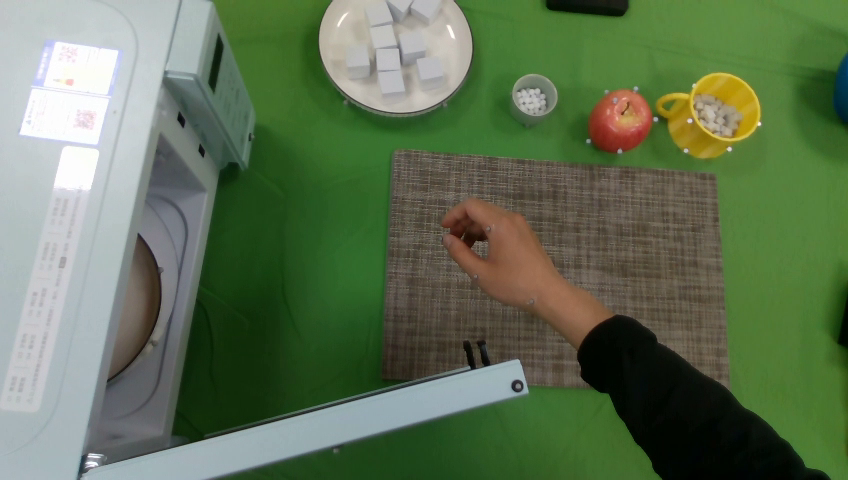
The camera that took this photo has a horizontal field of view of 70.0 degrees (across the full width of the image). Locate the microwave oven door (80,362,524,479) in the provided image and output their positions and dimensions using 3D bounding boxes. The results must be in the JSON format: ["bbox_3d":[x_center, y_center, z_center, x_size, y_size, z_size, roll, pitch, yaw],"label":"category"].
[{"bbox_3d":[-0.099,0.175,0.595,0.356,0.244,0.039,-13,78,-9],"label":"microwave oven door"}]

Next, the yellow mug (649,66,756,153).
[{"bbox_3d":[0.376,-0.182,0.833,0.131,0.064,0.099,14,76,-2],"label":"yellow mug"}]

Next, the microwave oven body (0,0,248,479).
[{"bbox_3d":[-0.388,-0.010,0.609,0.326,0.261,0.439,6,78,-5],"label":"microwave oven body"}]

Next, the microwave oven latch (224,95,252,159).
[{"bbox_3d":[-0.234,-0.143,0.753,0.030,0.029,0.079,8,78,-5],"label":"microwave oven latch"}]

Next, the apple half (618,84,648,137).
[{"bbox_3d":[0.278,-0.176,0.817,0.033,0.081,0.081,-24,80,-6],"label":"apple half"}]

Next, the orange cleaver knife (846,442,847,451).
[{"bbox_3d":[0.592,0.176,0.766,0.012,0.077,0.212,22,108,2],"label":"orange cleaver knife"}]

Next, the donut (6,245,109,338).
[{"bbox_3d":[-0.384,0.054,0.637,0.099,0.048,0.098,1,79,-7],"label":"donut"}]

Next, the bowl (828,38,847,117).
[{"bbox_3d":[0.640,-0.224,0.865,0.151,0.077,0.150,1,78,-5],"label":"bowl"}]

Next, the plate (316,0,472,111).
[{"bbox_3d":[-0.040,-0.267,0.821,0.208,0.039,0.206,1,77,-6],"label":"plate"}]

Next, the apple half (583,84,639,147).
[{"bbox_3d":[0.242,-0.160,0.811,0.053,0.075,0.080,-23,84,-6],"label":"apple half"}]

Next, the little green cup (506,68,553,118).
[{"bbox_3d":[0.141,-0.197,0.826,0.061,0.039,0.061,1,77,-5],"label":"little green cup"}]

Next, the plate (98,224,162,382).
[{"bbox_3d":[-0.387,0.060,0.647,0.209,0.038,0.208,1,78,-6],"label":"plate"}]
